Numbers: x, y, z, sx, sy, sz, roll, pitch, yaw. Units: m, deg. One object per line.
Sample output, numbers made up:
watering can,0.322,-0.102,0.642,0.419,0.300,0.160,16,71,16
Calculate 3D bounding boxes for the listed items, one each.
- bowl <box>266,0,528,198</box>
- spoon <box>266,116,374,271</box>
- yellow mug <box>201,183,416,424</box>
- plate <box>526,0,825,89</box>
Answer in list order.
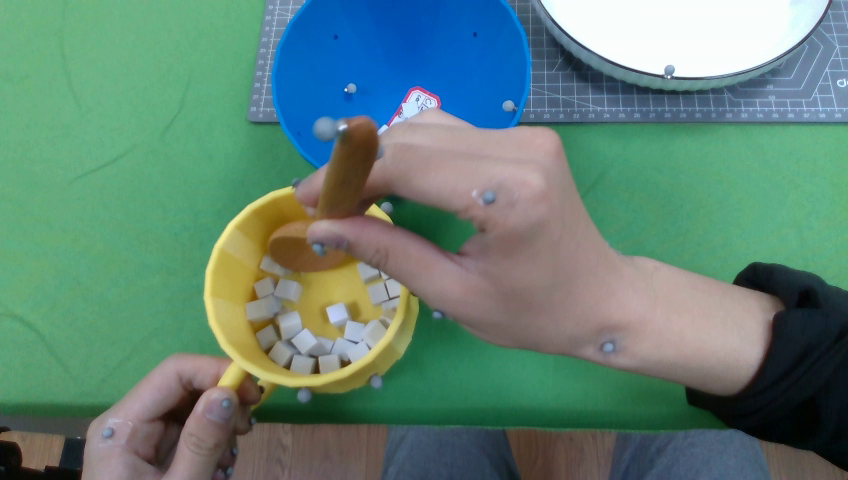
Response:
bowl,-0.013,-0.087,0.381,0.151,0.077,0.150,-1,74,4
spoon,-0.042,-0.008,0.250,0.042,0.193,0.021,6,79,-15
yellow mug,-0.065,0.040,0.315,0.099,0.064,0.130,34,79,10
plate,0.169,-0.191,0.427,0.209,0.038,0.207,-1,70,3
